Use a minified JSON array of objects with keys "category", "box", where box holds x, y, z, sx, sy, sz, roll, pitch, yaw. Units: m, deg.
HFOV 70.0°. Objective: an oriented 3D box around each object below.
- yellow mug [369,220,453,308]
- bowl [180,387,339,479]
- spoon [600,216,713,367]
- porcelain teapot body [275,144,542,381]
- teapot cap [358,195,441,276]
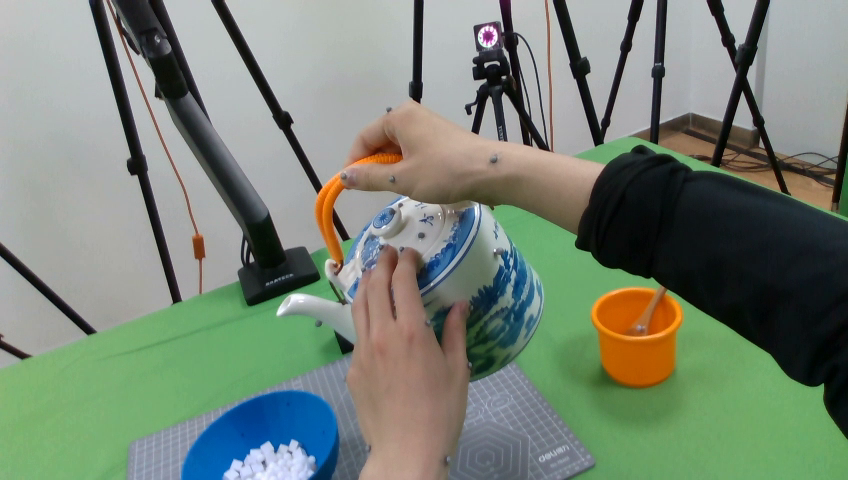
[{"category":"yellow mug","box":[-0.020,0.035,0.785,0.099,0.064,0.130,-3,33,17]},{"category":"bowl","box":[-0.148,0.225,0.591,0.151,0.077,0.150,-10,29,6]},{"category":"spoon","box":[0.252,0.057,0.653,0.022,0.194,0.041,23,13,-30]},{"category":"porcelain teapot body","box":[-0.026,0.032,0.535,0.205,0.228,0.143,-35,36,9]},{"category":"teapot cap","box":[-0.024,-0.007,0.507,0.085,0.044,0.084,-25,41,24]}]
